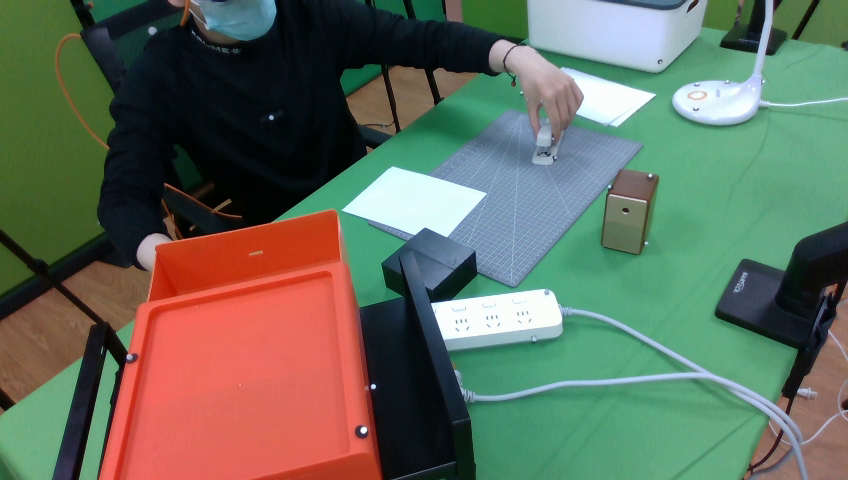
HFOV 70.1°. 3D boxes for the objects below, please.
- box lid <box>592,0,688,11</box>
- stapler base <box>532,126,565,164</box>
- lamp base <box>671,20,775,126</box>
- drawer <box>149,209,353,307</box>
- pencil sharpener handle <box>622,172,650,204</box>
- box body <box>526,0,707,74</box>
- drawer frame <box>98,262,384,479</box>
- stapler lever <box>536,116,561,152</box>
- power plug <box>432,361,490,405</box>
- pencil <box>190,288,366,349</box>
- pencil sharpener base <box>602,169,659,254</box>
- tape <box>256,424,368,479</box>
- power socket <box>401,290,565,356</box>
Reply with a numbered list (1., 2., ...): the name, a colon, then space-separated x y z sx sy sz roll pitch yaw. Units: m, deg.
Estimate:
1. box lid: 0.441 -0.596 1.383 0.368 0.015 0.264 24 49 31
2. stapler base: 0.239 -0.189 1.155 0.041 0.024 0.130 11 42 17
3. lamp base: 0.582 -0.332 1.153 0.179 0.181 0.160 2 41 7
4. drawer: -0.166 0.075 0.590 0.195 0.073 0.210 -11 41 -5
5. pencil sharpener handle: 0.328 -0.086 0.940 0.036 0.068 0.030 29 49 8
6. box body: 0.450 -0.540 1.430 0.361 0.161 0.255 24 50 31
7. drawer frame: -0.148 0.130 0.518 0.202 0.083 0.212 -12 41 -6
8. stapler lever: 0.236 -0.209 1.140 0.026 0.040 0.118 10 42 17
9. power plug: 0.044 0.182 0.759 0.073 0.035 0.052 25 41 -20
10. pencil: -0.150 0.077 0.612 0.194 0.012 0.012 16 44 8
11. pencil sharpener base: 0.311 -0.044 0.913 0.061 0.107 0.077 14 45 24
12. tape: -0.121 0.263 0.659 0.117 0.053 0.116 -5 39 4
13. power socket: 0.080 0.112 0.821 0.227 0.033 0.072 -6 41 0
